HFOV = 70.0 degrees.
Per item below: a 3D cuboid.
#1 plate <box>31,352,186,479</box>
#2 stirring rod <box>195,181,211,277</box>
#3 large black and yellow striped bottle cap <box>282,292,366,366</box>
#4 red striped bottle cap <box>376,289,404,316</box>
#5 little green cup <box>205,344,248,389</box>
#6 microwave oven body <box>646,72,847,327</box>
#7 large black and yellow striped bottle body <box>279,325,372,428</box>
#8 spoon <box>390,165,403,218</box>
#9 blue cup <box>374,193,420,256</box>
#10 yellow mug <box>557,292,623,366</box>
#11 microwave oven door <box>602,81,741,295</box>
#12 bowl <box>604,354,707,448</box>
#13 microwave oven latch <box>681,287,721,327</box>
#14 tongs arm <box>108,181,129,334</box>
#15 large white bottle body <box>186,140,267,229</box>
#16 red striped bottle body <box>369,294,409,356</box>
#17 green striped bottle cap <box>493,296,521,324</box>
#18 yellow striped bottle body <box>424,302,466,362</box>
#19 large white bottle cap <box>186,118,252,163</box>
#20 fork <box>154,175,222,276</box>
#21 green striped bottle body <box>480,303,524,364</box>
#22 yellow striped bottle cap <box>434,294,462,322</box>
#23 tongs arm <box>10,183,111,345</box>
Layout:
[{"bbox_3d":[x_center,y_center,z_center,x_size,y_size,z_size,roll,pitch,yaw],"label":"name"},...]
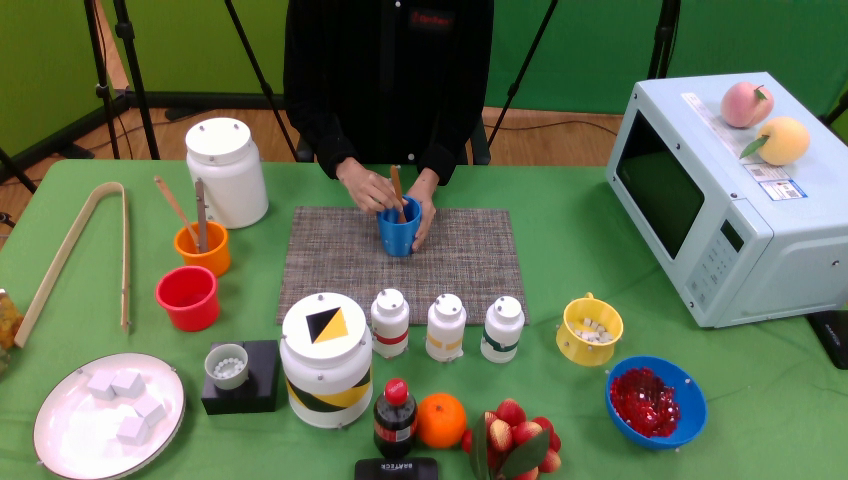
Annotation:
[{"bbox_3d":[-0.459,0.262,0.898,0.209,0.038,0.208,2,46,-2],"label":"plate"},{"bbox_3d":[-0.403,-0.020,1.104,0.014,0.006,0.176,-6,89,-8],"label":"stirring rod"},{"bbox_3d":[-0.138,0.121,0.841,0.115,0.019,0.114,3,47,-3],"label":"large black and yellow striped bottle cap"},{"bbox_3d":[-0.054,0.098,0.958,0.044,0.018,0.044,0,48,1],"label":"red striped bottle cap"},{"bbox_3d":[-0.294,0.191,0.909,0.061,0.039,0.061,1,47,-1],"label":"little green cup"},{"bbox_3d":[0.607,-0.089,1.163,0.326,0.261,0.438,-7,46,-10],"label":"microwave oven body"},{"bbox_3d":[-0.143,0.181,0.900,0.131,0.185,0.130,2,46,-2],"label":"large black and yellow striped bottle body"},{"bbox_3d":[-0.049,-0.063,1.115,0.041,0.195,0.021,9,44,15],"label":"spoon"},{"bbox_3d":[-0.050,-0.023,1.155,0.093,0.101,0.092,1,48,-1],"label":"blue cup"},{"bbox_3d":[0.285,0.145,1.051,0.100,0.064,0.130,7,46,4],"label":"yellow mug"},{"bbox_3d":[0.456,-0.107,1.162,0.039,0.245,0.353,-7,47,-11],"label":"microwave oven door"},{"bbox_3d":[0.346,0.261,0.937,0.151,0.077,0.150,2,46,-2],"label":"bowl"},{"bbox_3d":[0.494,0.119,1.086,0.030,0.029,0.078,-5,46,-9],"label":"microwave oven latch"},{"bbox_3d":[-0.571,0.019,1.123,0.051,0.026,0.382,-10,47,-12],"label":"tongs arm"},{"bbox_3d":[-0.382,-0.127,1.176,0.131,0.185,0.130,2,46,-2],"label":"large white bottle body"},{"bbox_3d":[-0.059,0.134,0.997,0.063,0.120,0.062,5,48,-5],"label":"red striped bottle body"},{"bbox_3d":[0.133,0.111,0.962,0.044,0.020,0.044,2,47,-2],"label":"green striped bottle cap"},{"bbox_3d":[0.035,0.143,0.995,0.063,0.121,0.062,3,46,-3],"label":"yellow striped bottle body"},{"bbox_3d":[-0.377,-0.185,1.115,0.115,0.018,0.114,2,47,-2],"label":"large white bottle cap"},{"bbox_3d":[-0.431,-0.026,1.101,0.028,0.018,0.207,-33,100,-25],"label":"fork"},{"bbox_3d":[0.129,0.147,1.000,0.063,0.120,0.063,2,46,-2],"label":"green striped bottle body"},{"bbox_3d":[0.038,0.107,0.958,0.044,0.019,0.044,2,45,-2],"label":"yellow striped bottle cap"},{"bbox_3d":[-0.658,0.027,1.109,0.028,0.028,0.385,-2,45,2],"label":"tongs arm"}]
